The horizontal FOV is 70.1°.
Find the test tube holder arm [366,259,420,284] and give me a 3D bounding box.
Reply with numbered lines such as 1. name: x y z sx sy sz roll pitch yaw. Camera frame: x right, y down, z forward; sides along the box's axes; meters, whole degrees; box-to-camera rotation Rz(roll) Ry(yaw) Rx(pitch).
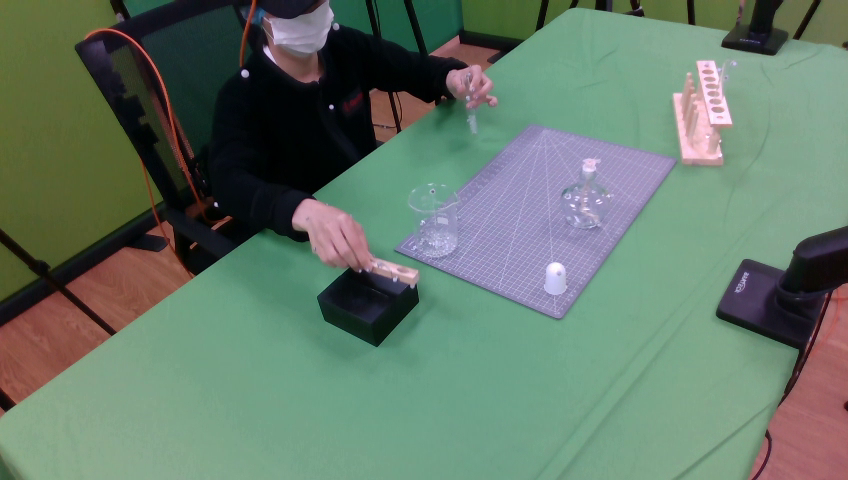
1. test tube holder arm: -0.045 0.043 0.828 0.087 0.015 0.010 13 33 26

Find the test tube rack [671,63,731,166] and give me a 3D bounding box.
1. test tube rack: 0.513 -0.240 1.132 0.066 0.085 0.242 4 41 14

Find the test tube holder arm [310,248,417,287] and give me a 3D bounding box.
1. test tube holder arm: -0.087 0.036 0.843 0.177 0.015 0.013 13 33 26

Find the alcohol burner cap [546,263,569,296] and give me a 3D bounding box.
1. alcohol burner cap: 0.191 0.053 0.862 0.034 0.048 0.033 -5 40 4

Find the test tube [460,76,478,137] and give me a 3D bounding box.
1. test tube: 0.086 -0.247 1.134 0.017 0.151 0.017 -6 56 10

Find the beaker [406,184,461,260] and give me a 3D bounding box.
1. beaker: 0.019 -0.026 0.939 0.084 0.101 0.074 1 41 10

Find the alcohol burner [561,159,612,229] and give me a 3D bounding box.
1. alcohol burner: 0.257 -0.077 0.951 0.078 0.119 0.077 -3 40 3

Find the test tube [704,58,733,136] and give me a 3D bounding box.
1. test tube: 0.516 -0.247 1.062 0.017 0.151 0.017 -3 43 4
